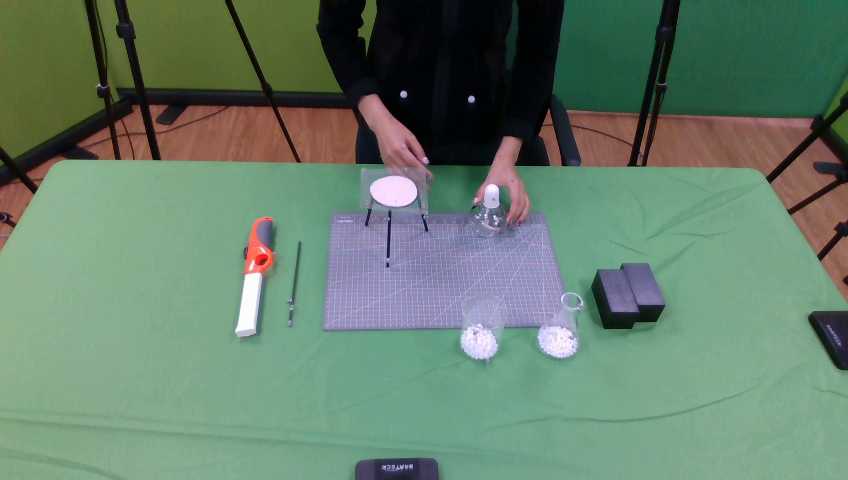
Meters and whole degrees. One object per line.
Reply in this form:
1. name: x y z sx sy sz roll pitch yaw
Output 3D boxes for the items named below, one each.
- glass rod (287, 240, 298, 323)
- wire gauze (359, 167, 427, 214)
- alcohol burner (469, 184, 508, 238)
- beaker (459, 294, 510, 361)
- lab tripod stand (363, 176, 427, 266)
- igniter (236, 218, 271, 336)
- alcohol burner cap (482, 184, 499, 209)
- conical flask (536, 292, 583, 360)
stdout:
1. glass rod: -0.242 0.072 1.119 0.008 0.008 0.198 -1 47 -5
2. wire gauze: -0.058 -0.093 1.110 0.125 0.011 0.120 2 45 -5
3. alcohol burner: 0.130 -0.062 1.203 0.078 0.120 0.077 2 44 -2
4. beaker: 0.095 0.147 1.012 0.083 0.101 0.074 26 49 21
5. lab tripod stand: -0.058 -0.047 1.159 0.148 0.132 0.147 3 44 -2
6. igniter: -0.312 0.058 1.115 0.057 0.025 0.274 -9 46 2
7. alcohol burner cap: 0.130 -0.087 1.177 0.034 0.048 0.033 -2 45 2
8. conical flask: 0.234 0.139 1.015 0.075 0.122 0.075 2 46 -2
